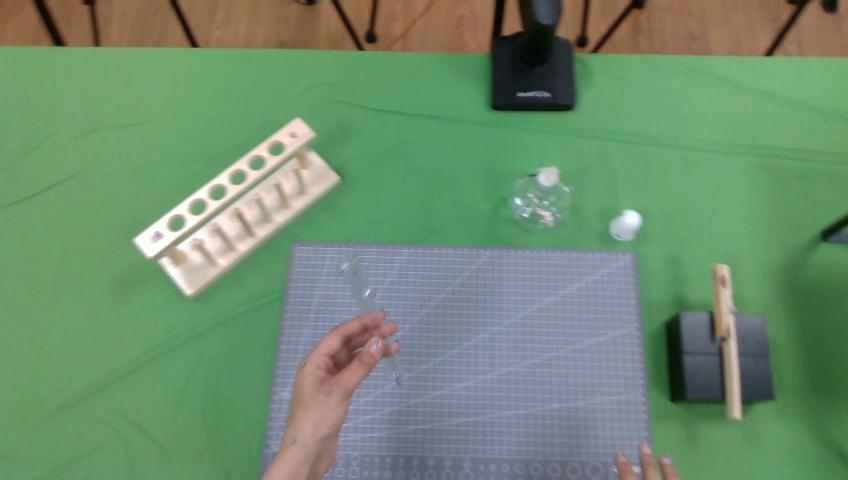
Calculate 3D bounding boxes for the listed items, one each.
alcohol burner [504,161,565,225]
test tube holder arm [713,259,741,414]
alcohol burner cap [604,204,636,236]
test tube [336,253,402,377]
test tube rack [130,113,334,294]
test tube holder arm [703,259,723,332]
[{"bbox_3d":[0.141,-0.065,0.757,0.078,0.120,0.077,1,68,-1],"label":"alcohol burner"},{"bbox_3d":[0.344,0.107,0.694,0.013,0.015,0.177,3,70,-7],"label":"test tube holder arm"},{"bbox_3d":[0.255,-0.028,0.782,0.034,0.048,0.033,0,69,0],"label":"alcohol burner cap"},{"bbox_3d":[-0.048,0.074,0.564,0.017,0.151,0.017,-14,33,9],"label":"test tube"},{"bbox_3d":[-0.232,-0.046,0.764,0.242,0.086,0.066,-41,74,-14],"label":"test tube rack"},{"bbox_3d":[0.339,0.065,0.708,0.010,0.015,0.087,4,70,-6],"label":"test tube holder arm"}]
